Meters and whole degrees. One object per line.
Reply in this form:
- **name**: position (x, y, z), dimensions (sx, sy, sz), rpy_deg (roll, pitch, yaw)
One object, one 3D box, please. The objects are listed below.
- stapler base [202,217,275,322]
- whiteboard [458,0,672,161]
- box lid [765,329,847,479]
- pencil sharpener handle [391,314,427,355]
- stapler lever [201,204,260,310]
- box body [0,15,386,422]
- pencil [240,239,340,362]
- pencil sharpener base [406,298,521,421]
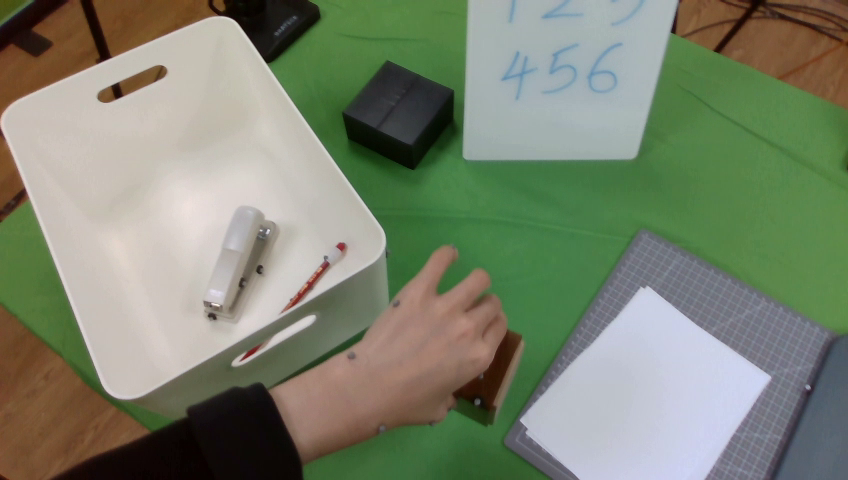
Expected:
- **stapler base**: position (-0.208, 0.026, 0.677), dimensions (0.041, 0.024, 0.130), rpy_deg (12, 65, 10)
- **whiteboard**: position (0.150, -0.259, 0.703), dimensions (0.217, 0.308, 0.142), rpy_deg (0, 43, 2)
- **box lid**: position (0.441, 0.281, 0.545), dimensions (0.262, 0.015, 0.370), rpy_deg (32, 68, 15)
- **pencil sharpener handle**: position (-0.016, 0.075, 0.492), dimensions (0.030, 0.068, 0.036), rpy_deg (22, 74, 14)
- **stapler lever**: position (-0.209, 0.015, 0.654), dimensions (0.027, 0.040, 0.117), rpy_deg (12, 66, 10)
- **box body**: position (-0.228, -0.026, 0.633), dimensions (0.254, 0.161, 0.361), rpy_deg (-31, 66, -14)
- **pencil**: position (-0.150, 0.073, 0.659), dimensions (0.012, 0.012, 0.193), rpy_deg (28, 67, 15)
- **pencil sharpener base**: position (0.031, 0.099, 0.492), dimensions (0.076, 0.108, 0.061), rpy_deg (22, 71, 13)
